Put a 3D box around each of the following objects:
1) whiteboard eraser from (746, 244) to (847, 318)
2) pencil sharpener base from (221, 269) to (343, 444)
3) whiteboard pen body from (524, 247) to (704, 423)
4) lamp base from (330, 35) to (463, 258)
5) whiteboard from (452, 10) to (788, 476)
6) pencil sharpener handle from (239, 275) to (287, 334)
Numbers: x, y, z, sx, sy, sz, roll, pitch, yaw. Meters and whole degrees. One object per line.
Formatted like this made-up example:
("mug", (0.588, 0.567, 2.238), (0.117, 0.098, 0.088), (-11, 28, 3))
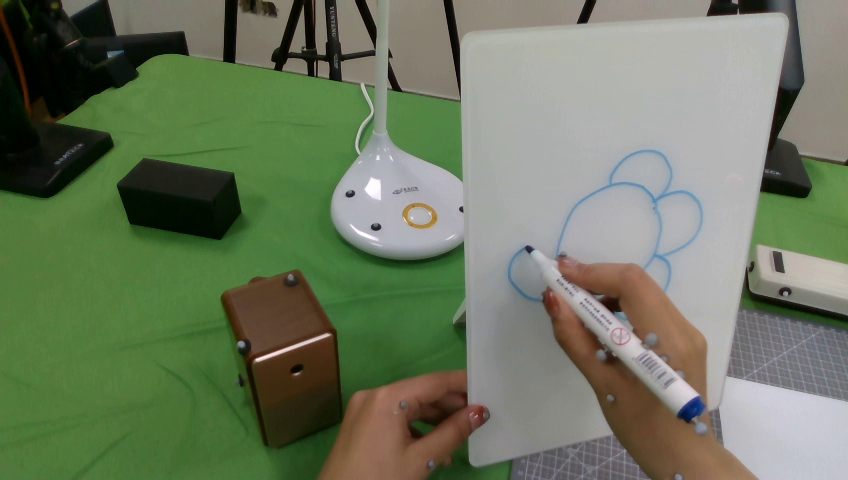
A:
("whiteboard eraser", (0.373, 0.042, 0.587), (0.112, 0.042, 0.055), (13, 40, 11))
("pencil sharpener base", (-0.104, 0.085, 0.449), (0.061, 0.108, 0.076), (-18, 45, -23))
("whiteboard pen body", (0.098, 0.045, 0.339), (0.017, 0.017, 0.139), (-19, 45, -24))
("lamp base", (-0.025, -0.101, 0.615), (0.161, 0.182, 0.177), (-22, 45, -27))
("whiteboard", (0.114, -0.009, 0.467), (0.218, 0.307, 0.142), (-8, 23, -12))
("pencil sharpener handle", (-0.126, 0.046, 0.474), (0.036, 0.068, 0.030), (-24, 47, -17))
